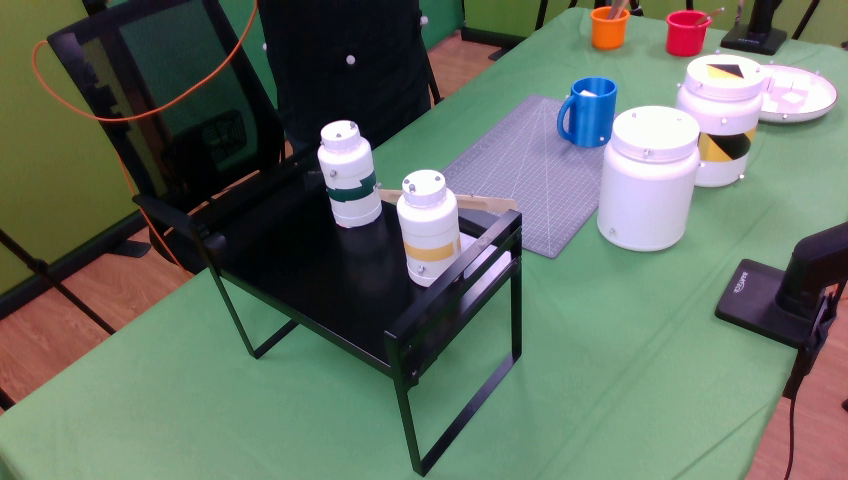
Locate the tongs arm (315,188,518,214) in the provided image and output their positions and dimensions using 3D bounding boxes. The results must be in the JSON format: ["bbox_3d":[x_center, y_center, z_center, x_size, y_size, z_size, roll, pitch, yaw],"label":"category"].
[{"bbox_3d":[-0.028,-0.060,0.988,0.382,0.027,0.051,9,44,36],"label":"tongs arm"}]

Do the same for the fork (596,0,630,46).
[{"bbox_3d":[0.480,-0.556,1.452,0.028,0.019,0.207,40,103,40],"label":"fork"}]

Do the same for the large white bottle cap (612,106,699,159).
[{"bbox_3d":[0.325,-0.153,0.850,0.115,0.018,0.114,-4,41,4],"label":"large white bottle cap"}]

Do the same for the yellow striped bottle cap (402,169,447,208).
[{"bbox_3d":[0.000,-0.052,0.604,0.044,0.019,0.044,-5,43,5],"label":"yellow striped bottle cap"}]

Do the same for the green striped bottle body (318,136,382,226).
[{"bbox_3d":[-0.090,-0.080,0.733,0.063,0.120,0.063,-4,41,4],"label":"green striped bottle body"}]

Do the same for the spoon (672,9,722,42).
[{"bbox_3d":[0.606,-0.476,1.345,0.042,0.021,0.193,-6,-3,-2],"label":"spoon"}]

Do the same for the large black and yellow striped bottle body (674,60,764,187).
[{"bbox_3d":[0.482,-0.196,1.008,0.131,0.185,0.130,-4,41,4],"label":"large black and yellow striped bottle body"}]

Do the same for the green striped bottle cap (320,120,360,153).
[{"bbox_3d":[-0.097,-0.120,0.699,0.044,0.020,0.044,-3,41,3],"label":"green striped bottle cap"}]

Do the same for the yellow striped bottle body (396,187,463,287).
[{"bbox_3d":[0.006,-0.013,0.638,0.063,0.121,0.062,-5,41,5],"label":"yellow striped bottle body"}]

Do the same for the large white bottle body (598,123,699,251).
[{"bbox_3d":[0.334,-0.090,0.906,0.130,0.185,0.130,-5,41,5],"label":"large white bottle body"}]

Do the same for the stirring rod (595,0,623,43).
[{"bbox_3d":[0.460,-0.556,1.459,0.014,0.006,0.176,29,93,22],"label":"stirring rod"}]

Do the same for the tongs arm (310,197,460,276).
[{"bbox_3d":[-0.078,-0.012,0.943,0.028,0.028,0.384,-43,39,-23],"label":"tongs arm"}]

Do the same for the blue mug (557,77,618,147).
[{"bbox_3d":[0.303,-0.237,1.139,0.117,0.106,0.081,-19,42,-13],"label":"blue mug"}]

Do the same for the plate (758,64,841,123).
[{"bbox_3d":[0.694,-0.283,1.189,0.207,0.039,0.206,-4,40,4],"label":"plate"}]

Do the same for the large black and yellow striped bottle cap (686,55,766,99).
[{"bbox_3d":[0.474,-0.258,0.952,0.115,0.019,0.114,-5,41,5],"label":"large black and yellow striped bottle cap"}]
